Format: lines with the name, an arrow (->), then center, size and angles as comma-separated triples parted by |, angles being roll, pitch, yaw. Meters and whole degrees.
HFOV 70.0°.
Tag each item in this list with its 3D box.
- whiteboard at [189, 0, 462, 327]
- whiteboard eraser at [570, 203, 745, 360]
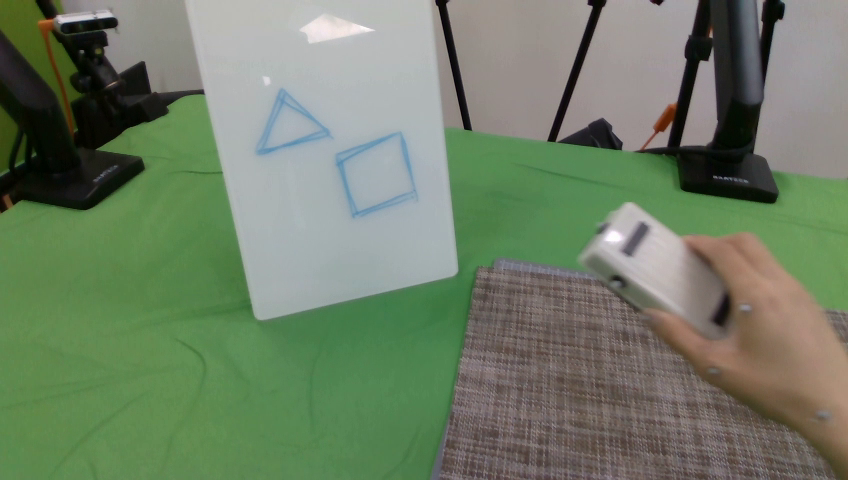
whiteboard -> -0.098, -0.097, 0.636 | 0.218, 0.307, 0.142 | -12, 18, -16
whiteboard eraser -> 0.158, 0.028, 0.417 | 0.112, 0.042, 0.055 | 37, 60, 5
